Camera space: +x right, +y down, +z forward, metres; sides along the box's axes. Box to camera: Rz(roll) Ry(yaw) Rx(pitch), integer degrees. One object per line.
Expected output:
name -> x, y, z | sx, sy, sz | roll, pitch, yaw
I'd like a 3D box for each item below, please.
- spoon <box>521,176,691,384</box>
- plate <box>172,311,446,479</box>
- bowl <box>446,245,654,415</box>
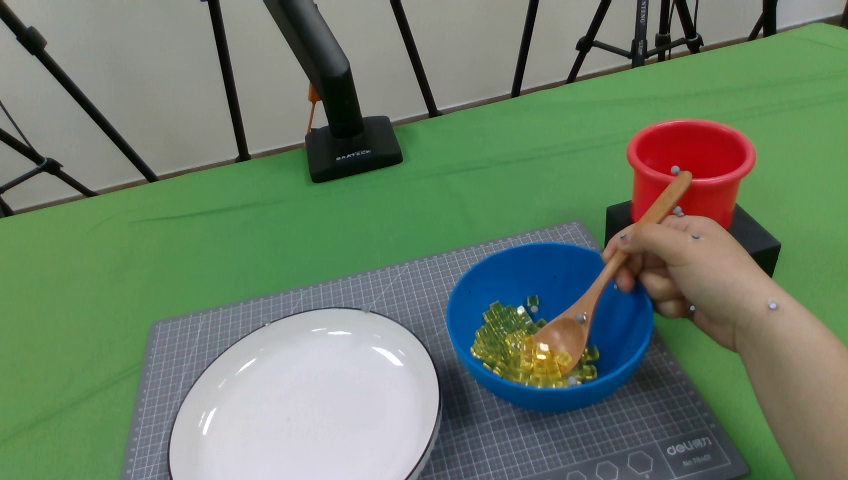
spoon -> 0.138, 0.027, 0.446 | 0.193, 0.022, 0.041 | -53, 44, -1
plate -> -0.084, 0.142, 0.470 | 0.207, 0.039, 0.205 | -6, 39, 5
bowl -> 0.096, 0.081, 0.470 | 0.151, 0.077, 0.150 | -6, 39, 6
